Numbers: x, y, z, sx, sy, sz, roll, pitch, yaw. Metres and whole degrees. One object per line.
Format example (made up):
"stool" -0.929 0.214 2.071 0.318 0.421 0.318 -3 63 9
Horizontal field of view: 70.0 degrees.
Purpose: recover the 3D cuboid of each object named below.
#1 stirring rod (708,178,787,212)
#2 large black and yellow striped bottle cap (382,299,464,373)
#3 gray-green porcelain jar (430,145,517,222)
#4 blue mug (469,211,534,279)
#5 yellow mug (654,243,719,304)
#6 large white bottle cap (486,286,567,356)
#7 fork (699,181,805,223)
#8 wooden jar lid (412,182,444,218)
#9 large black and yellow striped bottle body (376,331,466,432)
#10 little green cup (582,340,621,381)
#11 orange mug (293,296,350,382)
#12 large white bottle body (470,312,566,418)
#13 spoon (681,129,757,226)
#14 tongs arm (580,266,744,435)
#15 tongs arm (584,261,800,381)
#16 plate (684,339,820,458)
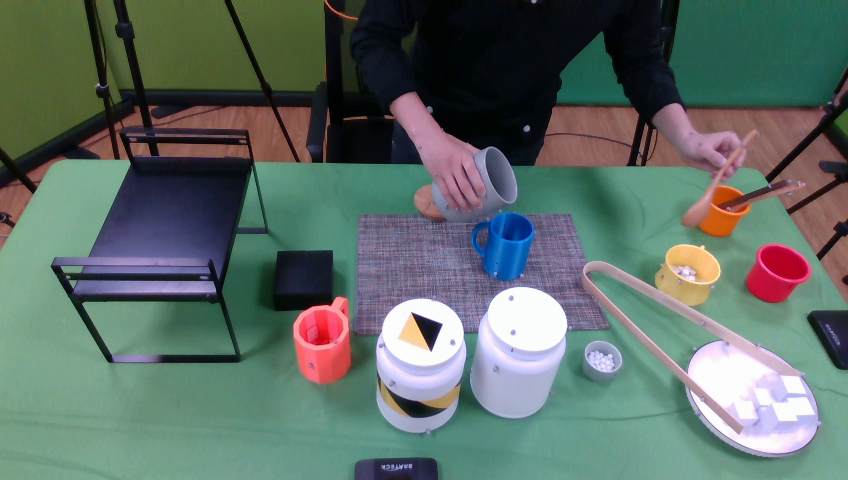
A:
"stirring rod" 0.650 -0.088 1.246 0.006 0.176 0.014 29 50 -38
"large black and yellow striped bottle cap" -0.002 0.132 0.843 0.115 0.019 0.114 2 46 -1
"gray-green porcelain jar" 0.083 -0.094 1.069 0.126 0.106 0.105 -22 35 34
"blue mug" 0.141 0.005 1.140 0.116 0.106 0.082 18 48 13
"yellow mug" 0.504 0.054 1.155 0.099 0.064 0.130 28 49 22
"large white bottle cap" 0.147 0.114 0.869 0.115 0.018 0.114 3 47 -3
"fork" 0.659 -0.077 1.232 0.207 0.019 0.028 -26 35 34
"wooden jar lid" 0.029 -0.083 1.277 0.108 0.021 0.107 3 43 -3
"large black and yellow striped bottle body" -0.007 0.189 0.905 0.131 0.185 0.130 2 47 -2
"little green cup" 0.295 0.204 1.015 0.061 0.039 0.061 2 45 -2
"orange mug" -0.158 0.154 0.985 0.083 0.101 0.125 17 52 11
"large white bottle body" 0.143 0.174 0.930 0.131 0.185 0.130 2 46 -2
"spoon" 0.502 -0.104 1.032 0.042 0.194 0.021 22 15 -26
"tongs arm" 0.384 0.173 1.028 0.028 0.028 0.385 -25 46 -15
"tongs arm" 0.452 0.137 1.063 0.051 0.027 0.382 -34 50 -27
"plate" 0.523 0.256 0.982 0.208 0.039 0.206 2 46 -2
